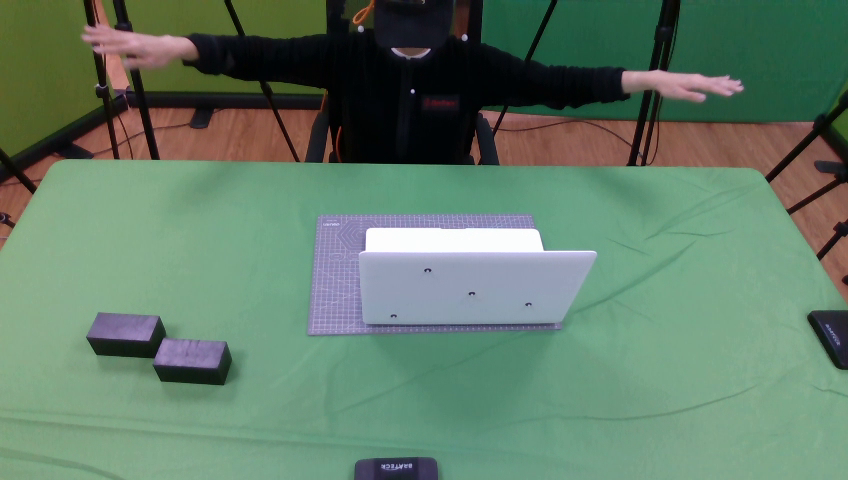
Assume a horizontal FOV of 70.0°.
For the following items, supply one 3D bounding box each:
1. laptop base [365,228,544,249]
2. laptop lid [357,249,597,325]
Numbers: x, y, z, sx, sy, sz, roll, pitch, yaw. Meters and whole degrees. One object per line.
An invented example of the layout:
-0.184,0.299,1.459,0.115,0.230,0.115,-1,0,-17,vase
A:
0.064,0.063,1.143,0.355,0.023,0.234,0,42,-4,laptop base
0.075,0.080,0.962,0.357,0.243,0.013,1,56,-5,laptop lid
